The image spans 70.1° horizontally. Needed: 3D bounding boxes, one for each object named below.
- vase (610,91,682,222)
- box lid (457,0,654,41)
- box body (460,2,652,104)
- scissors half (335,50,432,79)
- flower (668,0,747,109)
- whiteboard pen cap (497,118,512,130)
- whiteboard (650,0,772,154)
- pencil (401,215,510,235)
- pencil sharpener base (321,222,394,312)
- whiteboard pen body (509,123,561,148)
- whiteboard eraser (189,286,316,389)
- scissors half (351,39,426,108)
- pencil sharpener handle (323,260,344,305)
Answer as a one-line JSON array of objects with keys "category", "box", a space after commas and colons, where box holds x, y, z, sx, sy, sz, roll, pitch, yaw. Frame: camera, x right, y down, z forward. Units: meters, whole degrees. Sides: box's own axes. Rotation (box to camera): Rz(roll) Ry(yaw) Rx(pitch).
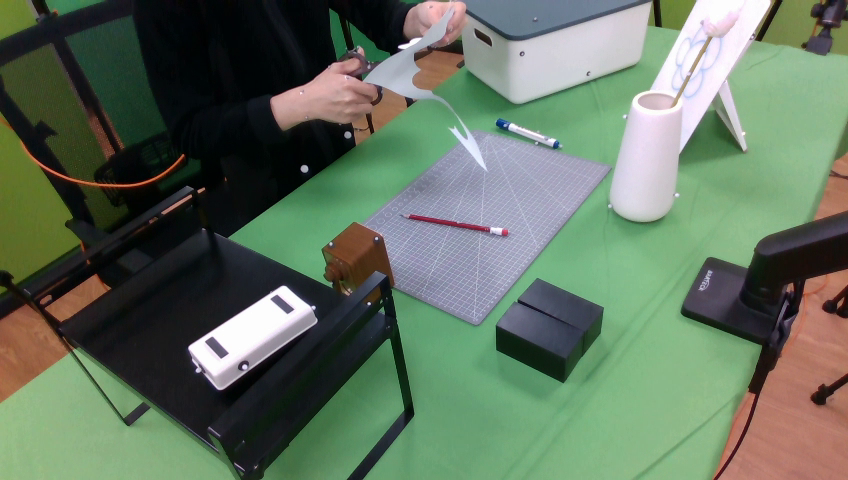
[{"category": "vase", "box": [0.348, -0.125, 0.935, 0.098, 0.201, 0.097, -3, 40, 3]}, {"category": "box lid", "box": [0.285, -0.522, 1.323, 0.373, 0.015, 0.261, -22, 43, -16]}, {"category": "box body", "box": [0.291, -0.465, 1.371, 0.365, 0.161, 0.252, -22, 42, -16]}, {"category": "scissors half", "box": [-0.064, -0.268, 0.903, 0.174, 0.040, 0.013, 1, 37, 30]}, {"category": "flower", "box": [0.354, -0.187, 0.879, 0.038, 0.362, 0.044, 30, 48, 14]}, {"category": "whiteboard pen cap", "box": [0.165, -0.235, 1.227, 0.033, 0.018, 0.018, 31, 53, 31]}, {"category": "whiteboard", "box": [0.543, -0.298, 1.076, 0.144, 0.305, 0.216, 12, 40, -7]}, {"category": "pencil", "box": [0.049, -0.027, 1.007, 0.193, 0.012, 0.012, 10, 43, 21]}, {"category": "pencil sharpener base", "box": [-0.096, 0.041, 0.873, 0.061, 0.107, 0.077, 25, 54, 32]}, {"category": "whiteboard pen body", "box": [0.208, -0.211, 1.195, 0.139, 0.017, 0.017, 30, 52, 33]}, {"category": "whiteboard eraser", "box": [-0.166, 0.096, 0.593, 0.113, 0.042, 0.055, -36, 47, -29]}, {"category": "scissors half", "box": [-0.053, -0.250, 0.911, 0.174, 0.040, 0.013, -33, 11, 43]}, {"category": "pencil sharpener handle", "box": [-0.131, 0.062, 0.839, 0.035, 0.068, 0.031, 29, 55, 28]}]
